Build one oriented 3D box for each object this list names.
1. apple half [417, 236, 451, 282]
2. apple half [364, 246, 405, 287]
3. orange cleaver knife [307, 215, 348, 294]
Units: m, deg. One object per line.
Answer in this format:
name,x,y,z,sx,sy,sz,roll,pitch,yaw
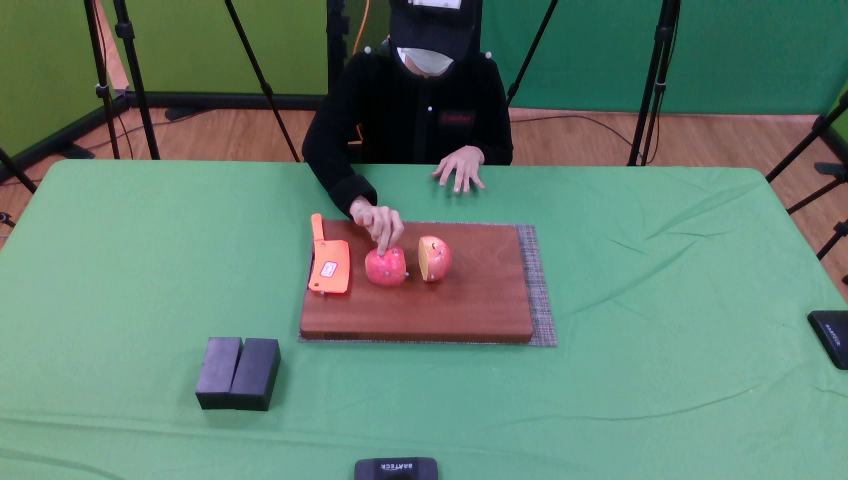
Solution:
apple half,0.020,0.035,1.092,0.053,0.075,0.080,-4,42,-14
apple half,-0.070,0.046,1.082,0.081,0.033,0.081,1,77,-5
orange cleaver knife,-0.181,0.023,1.126,0.077,0.012,0.210,-7,44,-6
